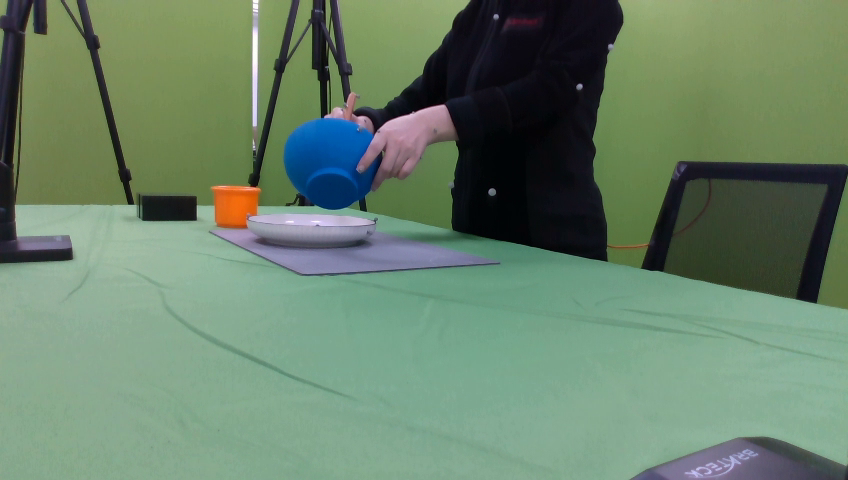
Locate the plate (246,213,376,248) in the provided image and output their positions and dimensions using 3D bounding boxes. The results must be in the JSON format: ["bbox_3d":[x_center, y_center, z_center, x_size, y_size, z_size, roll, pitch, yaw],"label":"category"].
[{"bbox_3d":[-0.185,-0.017,0.994,0.209,0.038,0.209,3,8,0],"label":"plate"}]

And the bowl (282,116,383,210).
[{"bbox_3d":[-0.135,-0.098,0.890,0.152,0.151,0.076,1,48,-6],"label":"bowl"}]

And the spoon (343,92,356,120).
[{"bbox_3d":[-0.138,-0.165,0.996,0.041,0.193,0.021,8,-27,1],"label":"spoon"}]
